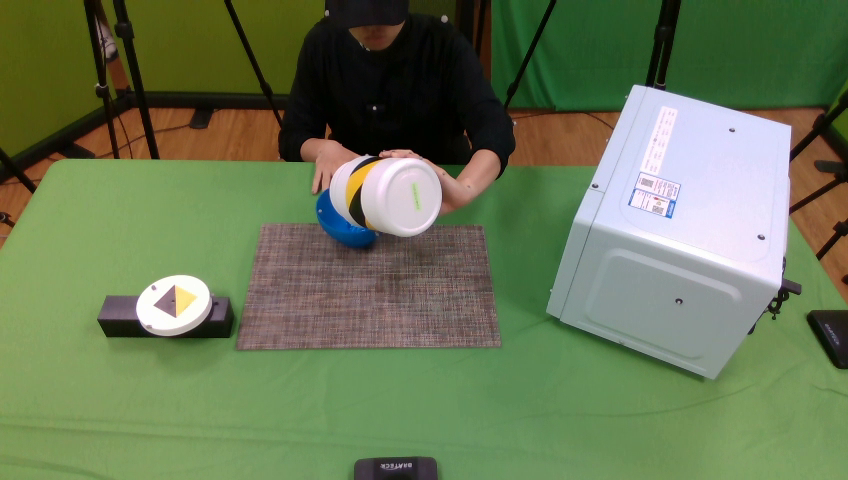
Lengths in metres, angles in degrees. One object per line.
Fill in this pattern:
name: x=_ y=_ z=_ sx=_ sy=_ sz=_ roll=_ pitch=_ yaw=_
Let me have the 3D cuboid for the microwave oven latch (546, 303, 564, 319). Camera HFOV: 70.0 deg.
microwave oven latch: x=0.242 y=0.102 z=1.081 sx=0.030 sy=0.029 sz=0.079 roll=21 pitch=48 yaw=17

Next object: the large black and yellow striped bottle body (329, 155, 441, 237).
large black and yellow striped bottle body: x=-0.073 y=-0.080 z=1.042 sx=0.131 sy=0.131 sz=0.183 roll=-31 pitch=25 yaw=-30

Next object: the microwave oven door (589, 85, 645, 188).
microwave oven door: x=0.341 y=-0.107 z=1.149 sx=0.039 sy=0.245 sz=0.354 roll=20 pitch=48 yaw=15

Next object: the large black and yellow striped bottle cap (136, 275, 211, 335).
large black and yellow striped bottle cap: x=-0.412 y=0.105 z=0.999 sx=0.115 sy=0.019 sz=0.114 roll=3 pitch=46 yaw=-3

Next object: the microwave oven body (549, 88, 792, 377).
microwave oven body: x=0.456 y=-0.028 z=1.088 sx=0.325 sy=0.261 sz=0.440 roll=20 pitch=47 yaw=16

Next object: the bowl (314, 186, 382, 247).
bowl: x=-0.136 y=-0.039 z=1.180 sx=0.151 sy=0.077 sz=0.150 roll=2 pitch=46 yaw=-2
